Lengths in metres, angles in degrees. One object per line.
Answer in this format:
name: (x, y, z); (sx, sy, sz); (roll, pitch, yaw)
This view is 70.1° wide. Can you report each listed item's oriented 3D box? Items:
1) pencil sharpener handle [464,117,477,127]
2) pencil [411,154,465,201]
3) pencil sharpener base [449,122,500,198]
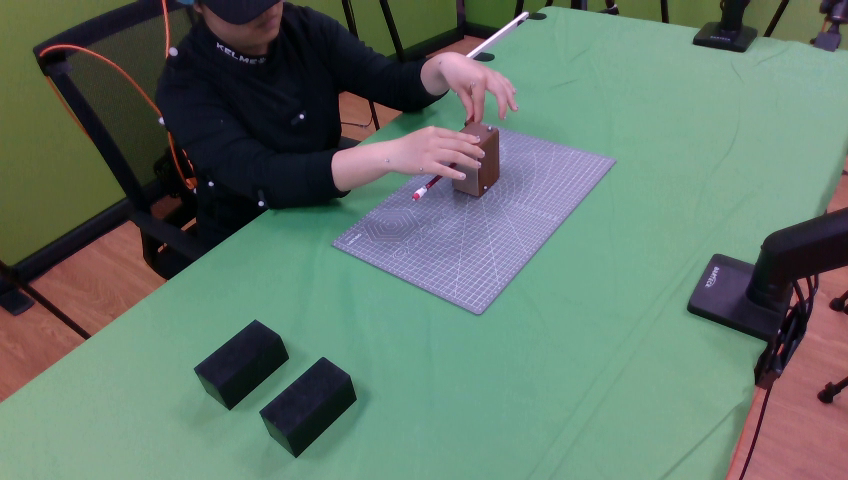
pencil sharpener handle: (0.104, -0.197, 1.070); (0.067, 0.036, 0.031); (28, 50, 21)
pencil: (0.039, -0.116, 0.986); (0.012, 0.012, 0.194); (21, 46, 30)
pencil sharpener base: (0.091, -0.140, 1.052); (0.061, 0.107, 0.077); (21, 47, 29)
